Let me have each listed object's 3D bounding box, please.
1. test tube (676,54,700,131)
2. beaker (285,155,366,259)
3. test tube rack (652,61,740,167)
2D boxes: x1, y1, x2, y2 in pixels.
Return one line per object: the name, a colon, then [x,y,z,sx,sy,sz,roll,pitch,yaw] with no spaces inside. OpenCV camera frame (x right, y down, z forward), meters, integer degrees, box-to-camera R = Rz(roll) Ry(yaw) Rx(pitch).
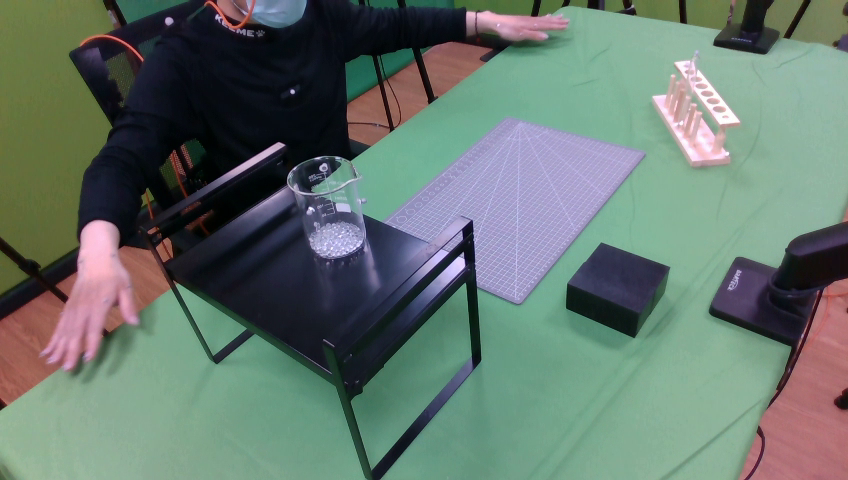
test tube: [0.475,-0.263,1.088,0.017,0.151,0.017,-4,43,4]
beaker: [-0.105,-0.035,0.690,0.084,0.101,0.073,-4,41,3]
test tube rack: [0.499,-0.242,1.130,0.067,0.085,0.241,-5,41,3]
